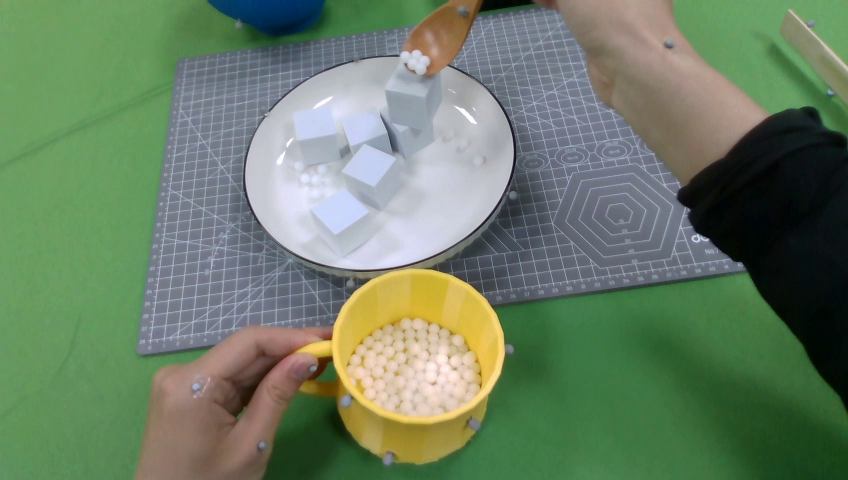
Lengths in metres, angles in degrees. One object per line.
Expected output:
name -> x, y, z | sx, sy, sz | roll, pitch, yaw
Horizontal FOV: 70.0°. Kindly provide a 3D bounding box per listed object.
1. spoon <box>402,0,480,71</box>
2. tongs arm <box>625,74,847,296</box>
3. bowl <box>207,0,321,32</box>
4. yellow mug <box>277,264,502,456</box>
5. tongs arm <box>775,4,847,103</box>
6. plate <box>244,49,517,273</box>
spoon -> 0.051, -0.178, 0.380 | 0.022, 0.194, 0.041 | -2, 60, -46
tongs arm -> 0.277, 0.005, 0.412 | 0.028, 0.028, 0.384 | -31, 63, -16
bowl -> -0.144, -0.253, 0.573 | 0.151, 0.077, 0.150 | -3, 60, 5
yellow mug -> -0.022, 0.074, 0.367 | 0.131, 0.064, 0.099 | -3, 53, -8
tongs arm -> 0.350, -0.030, 0.422 | 0.051, 0.027, 0.381 | -21, 62, -7
plate -> -0.032, -0.063, 0.473 | 0.207, 0.039, 0.206 | -2, 60, 4
